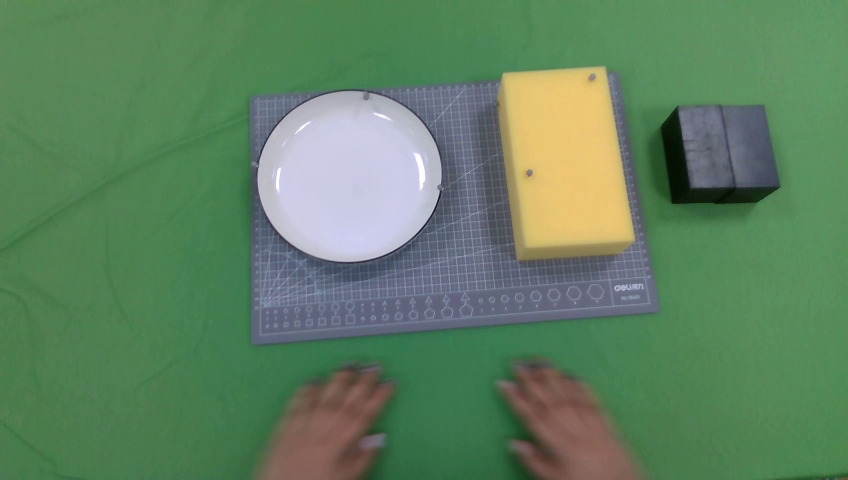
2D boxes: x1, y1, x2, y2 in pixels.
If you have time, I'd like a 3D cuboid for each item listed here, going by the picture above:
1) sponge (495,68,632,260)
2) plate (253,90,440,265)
[{"bbox_3d":[0.152,-0.086,0.686,0.118,0.061,0.205,-5,75,-2],"label":"sponge"},{"bbox_3d":[-0.085,-0.069,0.689,0.209,0.038,0.208,0,75,-1],"label":"plate"}]
